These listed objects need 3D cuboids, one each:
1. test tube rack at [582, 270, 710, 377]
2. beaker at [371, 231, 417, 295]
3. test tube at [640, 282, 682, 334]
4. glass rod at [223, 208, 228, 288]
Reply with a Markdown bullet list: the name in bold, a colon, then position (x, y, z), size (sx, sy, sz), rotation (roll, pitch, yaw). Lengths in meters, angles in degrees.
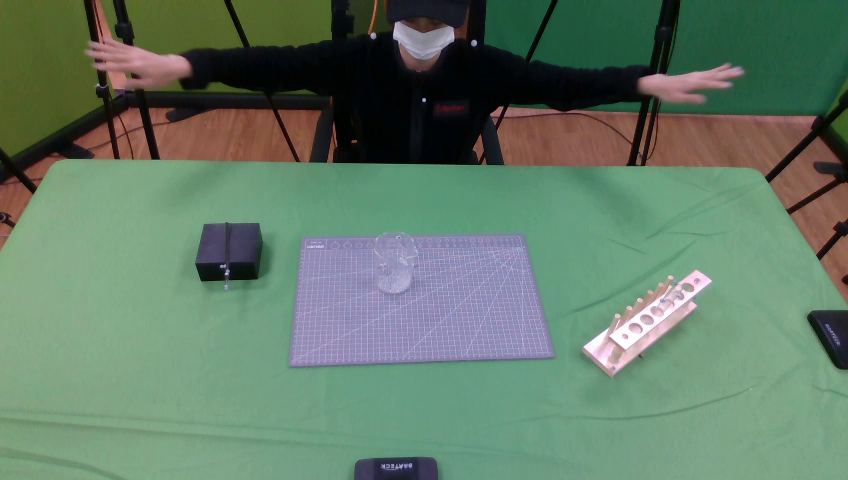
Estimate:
- **test tube rack**: position (0.389, 0.132, 1.057), size (0.242, 0.085, 0.066), rotation (-28, 54, -28)
- **beaker**: position (-0.054, 0.045, 1.093), size (0.084, 0.101, 0.073), rotation (17, 47, 10)
- **test tube**: position (0.389, 0.116, 1.002), size (0.017, 0.151, 0.017), rotation (2, 53, -3)
- **glass rod**: position (-0.360, 0.010, 1.098), size (0.008, 0.008, 0.198), rotation (-7, 47, -12)
